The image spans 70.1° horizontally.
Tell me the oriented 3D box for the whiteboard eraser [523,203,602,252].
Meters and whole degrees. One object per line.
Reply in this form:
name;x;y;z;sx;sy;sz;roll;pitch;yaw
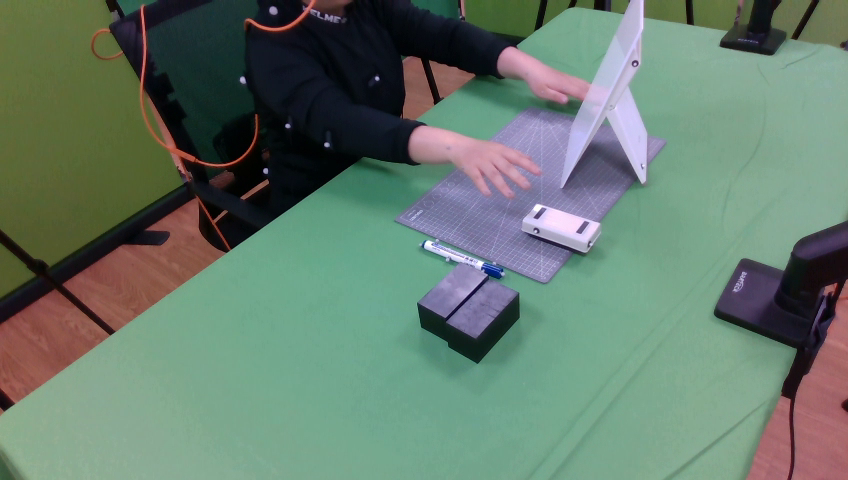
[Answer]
whiteboard eraser;0.215;-0.018;0.945;0.112;0.042;0.056;20;46;30

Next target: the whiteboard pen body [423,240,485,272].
whiteboard pen body;0.057;0.028;0.942;0.139;0.017;0.017;22;48;30

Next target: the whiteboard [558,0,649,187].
whiteboard;0.361;-0.238;1.026;0.144;0.306;0.217;21;44;3

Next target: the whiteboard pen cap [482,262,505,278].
whiteboard pen cap;0.104;0.044;0.912;0.033;0.018;0.018;22;48;29
